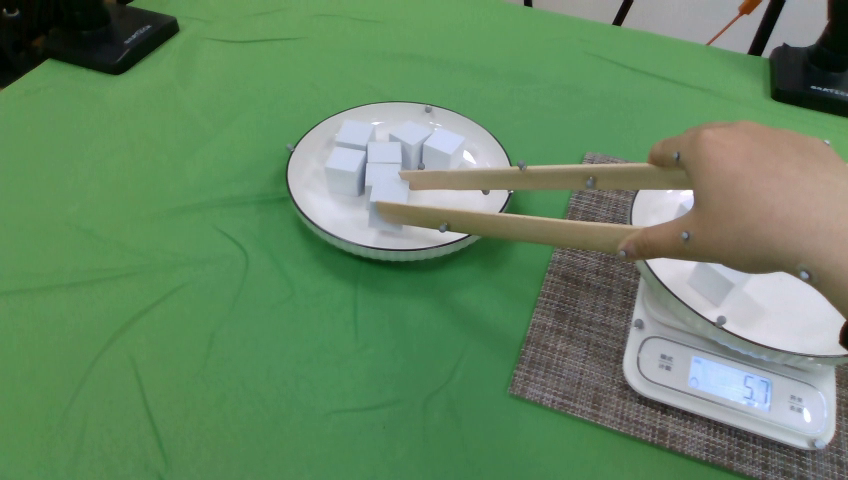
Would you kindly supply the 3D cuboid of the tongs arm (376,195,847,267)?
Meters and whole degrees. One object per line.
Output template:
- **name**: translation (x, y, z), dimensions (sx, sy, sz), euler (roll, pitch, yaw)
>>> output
- **tongs arm**: translation (0.122, -0.012, 0.391), dimensions (0.385, 0.028, 0.028), euler (6, 48, 35)

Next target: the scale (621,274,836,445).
- **scale**: translation (0.246, 0.051, 0.484), dimensions (0.148, 0.032, 0.200), euler (18, 50, 12)

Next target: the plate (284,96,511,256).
- **plate**: translation (-0.023, -0.060, 0.567), dimensions (0.209, 0.038, 0.207), euler (2, 48, -2)

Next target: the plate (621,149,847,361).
- **plate**: translation (0.257, 0.009, 0.478), dimensions (0.208, 0.039, 0.205), euler (3, 49, -3)

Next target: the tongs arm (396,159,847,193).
- **tongs arm**: translation (0.134, -0.032, 0.404), dimensions (0.382, 0.027, 0.050), euler (3, 50, 33)
